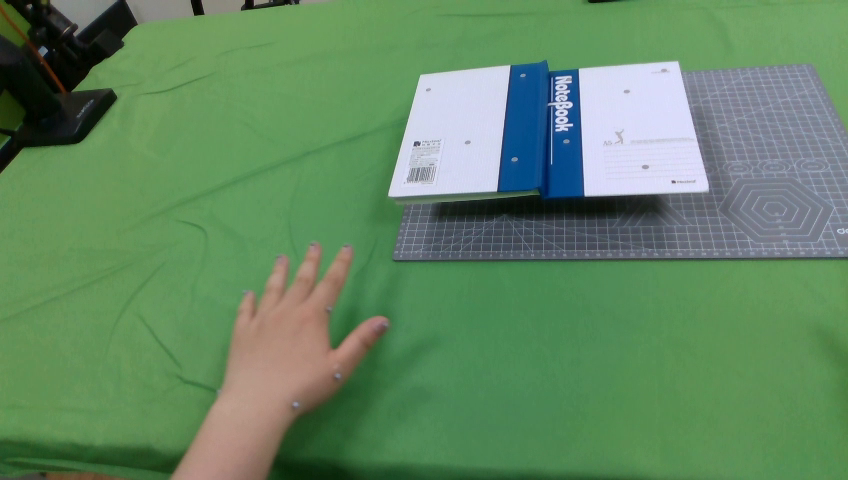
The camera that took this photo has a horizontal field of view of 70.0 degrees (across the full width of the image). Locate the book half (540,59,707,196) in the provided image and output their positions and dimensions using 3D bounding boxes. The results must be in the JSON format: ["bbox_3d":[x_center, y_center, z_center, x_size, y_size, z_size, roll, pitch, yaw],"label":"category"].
[{"bbox_3d":[0.191,-0.118,0.606,0.143,0.007,0.208,0,47,13],"label":"book half"}]

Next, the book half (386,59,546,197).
[{"bbox_3d":[0.050,-0.120,0.632,0.148,0.016,0.208,-1,48,14],"label":"book half"}]
